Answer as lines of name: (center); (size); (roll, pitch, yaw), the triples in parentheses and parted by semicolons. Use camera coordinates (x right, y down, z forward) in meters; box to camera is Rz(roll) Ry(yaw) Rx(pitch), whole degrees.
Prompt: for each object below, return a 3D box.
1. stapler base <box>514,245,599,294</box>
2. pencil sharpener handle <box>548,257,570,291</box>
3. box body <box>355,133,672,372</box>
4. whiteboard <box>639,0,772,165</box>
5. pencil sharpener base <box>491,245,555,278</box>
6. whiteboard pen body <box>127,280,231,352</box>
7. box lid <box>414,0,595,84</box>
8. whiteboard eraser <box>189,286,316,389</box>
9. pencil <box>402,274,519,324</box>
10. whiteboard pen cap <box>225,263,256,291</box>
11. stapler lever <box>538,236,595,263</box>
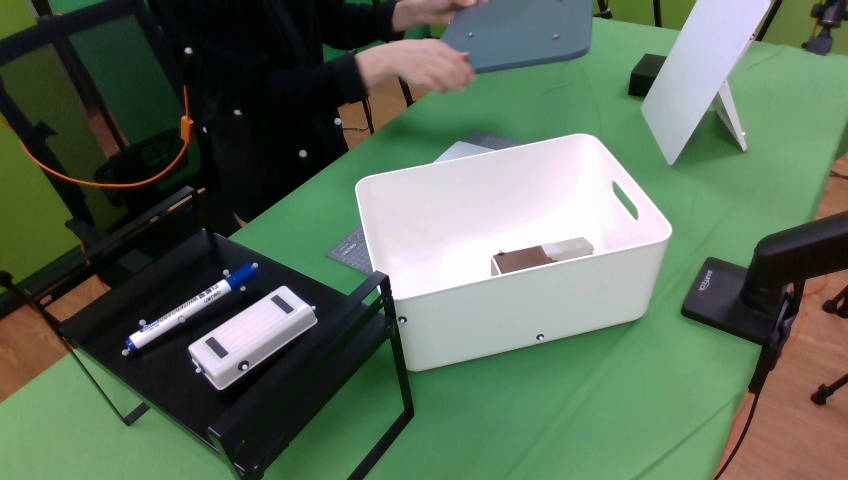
stapler base: (0.195, 0.038, 0.891); (0.131, 0.024, 0.041); (-21, 45, -16)
pencil sharpener handle: (0.182, 0.045, 0.801); (0.031, 0.068, 0.035); (-13, 56, -7)
box body: (0.108, 0.013, 0.834); (0.365, 0.161, 0.252); (-12, 41, -6)
whiteboard: (0.543, -0.298, 1.076); (0.144, 0.305, 0.216); (12, 40, -7)
pencil sharpener base: (0.134, 0.068, 0.801); (0.077, 0.107, 0.061); (-13, 42, -7)
whiteboard pen body: (-0.248, 0.072, 0.645); (0.141, 0.017, 0.017); (-35, 47, -23)
box lid: (0.149, -0.354, 1.024); (0.262, 0.015, 0.371); (-2, 36, 20)
whiteboard eraser: (-0.166, 0.096, 0.593); (0.113, 0.042, 0.055); (-36, 47, -29)
pencil: (0.056, 0.082, 0.870); (0.195, 0.012, 0.012); (-19, 42, -20)
whiteboard pen cap: (-0.204, 0.041, 0.668); (0.033, 0.018, 0.018); (-36, 48, -22)
stapler lever: (0.194, 0.017, 0.874); (0.118, 0.040, 0.026); (-20, 45, -17)
